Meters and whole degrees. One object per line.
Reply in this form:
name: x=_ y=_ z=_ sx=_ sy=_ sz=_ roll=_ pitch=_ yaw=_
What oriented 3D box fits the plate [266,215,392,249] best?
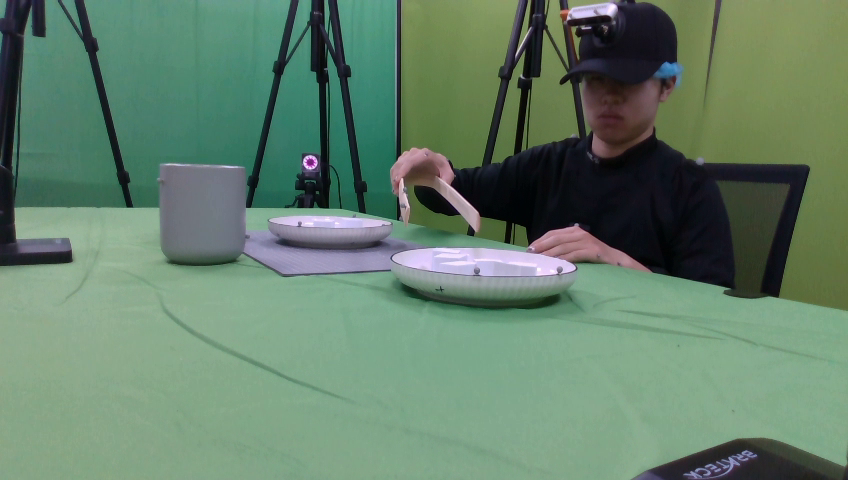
plate: x=-0.159 y=-0.015 z=1.019 sx=0.209 sy=0.038 sz=0.209 roll=3 pitch=7 yaw=0

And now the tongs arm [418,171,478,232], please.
tongs arm: x=0.032 y=-0.067 z=0.917 sx=0.028 sy=0.028 sz=0.386 roll=-2 pitch=14 yaw=-8

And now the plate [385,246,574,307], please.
plate: x=0.060 y=0.041 z=0.678 sx=0.208 sy=0.039 sz=0.207 roll=3 pitch=7 yaw=0

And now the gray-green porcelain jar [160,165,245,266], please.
gray-green porcelain jar: x=-0.291 y=-0.034 z=0.799 sx=0.106 sy=0.126 sz=0.106 roll=2 pitch=8 yaw=0

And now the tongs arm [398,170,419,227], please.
tongs arm: x=-0.017 y=-0.070 z=0.911 sx=0.051 sy=0.026 sz=0.384 roll=2 pitch=13 yaw=-6

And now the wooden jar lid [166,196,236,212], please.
wooden jar lid: x=-0.369 y=-0.060 z=1.001 sx=0.108 sy=0.020 sz=0.108 roll=3 pitch=6 yaw=0
